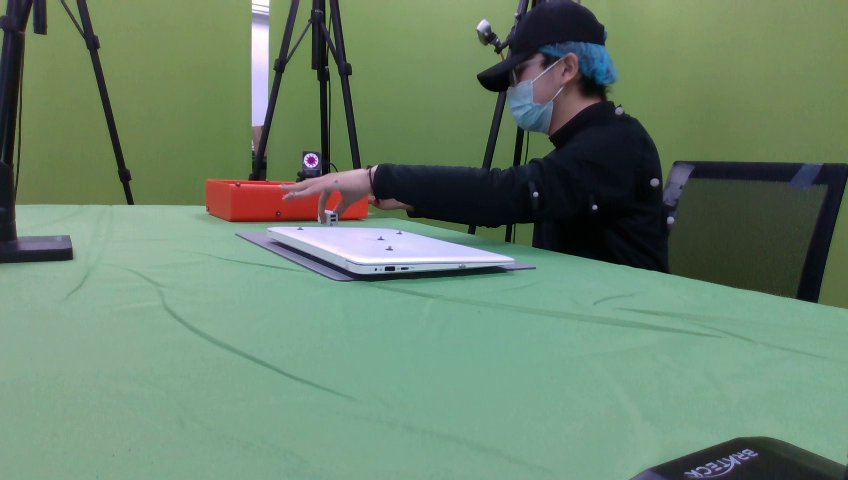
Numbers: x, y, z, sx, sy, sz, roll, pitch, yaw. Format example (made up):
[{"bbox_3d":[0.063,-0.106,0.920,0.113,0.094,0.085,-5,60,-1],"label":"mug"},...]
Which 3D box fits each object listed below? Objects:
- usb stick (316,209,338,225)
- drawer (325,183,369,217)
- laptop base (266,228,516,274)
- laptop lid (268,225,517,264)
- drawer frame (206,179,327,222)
[{"bbox_3d":[-0.197,-0.047,1.211,0.021,0.027,0.059,-11,13,-39],"label":"usb stick"},{"bbox_3d":[-0.267,-0.096,1.426,0.213,0.073,0.193,-3,10,-34],"label":"drawer"},{"bbox_3d":[-0.066,0.014,0.877,0.237,0.023,0.352,2,6,-32],"label":"laptop base"},{"bbox_3d":[-0.063,0.002,0.877,0.243,0.013,0.355,1,7,-30],"label":"laptop lid"},{"bbox_3d":[-0.356,-0.093,1.363,0.215,0.082,0.200,-4,10,-34],"label":"drawer frame"}]
